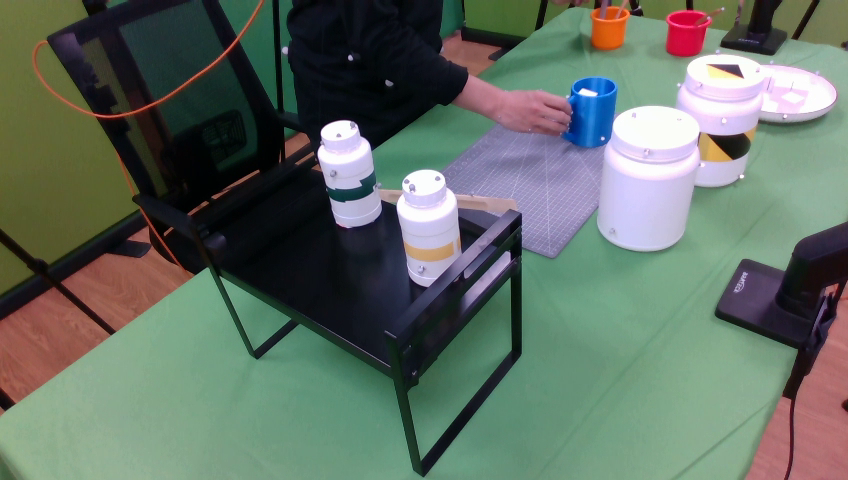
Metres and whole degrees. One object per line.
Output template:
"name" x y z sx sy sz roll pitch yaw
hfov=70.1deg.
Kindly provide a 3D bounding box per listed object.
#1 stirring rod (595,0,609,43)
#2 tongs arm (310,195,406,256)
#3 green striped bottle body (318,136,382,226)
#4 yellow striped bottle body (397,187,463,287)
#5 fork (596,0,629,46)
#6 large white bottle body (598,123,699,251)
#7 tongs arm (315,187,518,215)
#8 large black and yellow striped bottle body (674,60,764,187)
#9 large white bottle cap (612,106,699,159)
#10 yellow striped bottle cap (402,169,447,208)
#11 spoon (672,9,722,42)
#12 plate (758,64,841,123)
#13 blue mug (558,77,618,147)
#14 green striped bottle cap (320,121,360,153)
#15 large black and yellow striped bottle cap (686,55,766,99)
"stirring rod" 0.435 -0.563 1.454 0.014 0.176 0.006 11 7 14
"tongs arm" -0.078 -0.013 0.944 0.028 0.028 0.384 -42 39 -23
"green striped bottle body" -0.090 -0.080 0.733 0.063 0.120 0.063 -5 40 5
"yellow striped bottle body" 0.007 -0.013 0.638 0.063 0.121 0.062 -5 41 4
"fork" 0.480 -0.556 1.453 0.207 0.019 0.028 -59 42 10
"large white bottle body" 0.334 -0.090 0.906 0.130 0.185 0.130 -5 41 5
"tongs arm" -0.028 -0.060 0.988 0.382 0.027 0.051 10 45 36
"large black and yellow striped bottle body" 0.482 -0.196 1.008 0.131 0.185 0.130 -4 41 4
"large white bottle cap" 0.325 -0.153 0.850 0.115 0.018 0.114 -4 41 4
"yellow striped bottle cap" 0.000 -0.052 0.605 0.044 0.019 0.044 -5 43 5
"spoon" 0.606 -0.476 1.345 0.042 0.021 0.193 -6 -3 -2
"plate" 0.694 -0.283 1.189 0.207 0.039 0.206 -4 40 4
"blue mug" 0.304 -0.237 1.139 0.117 0.106 0.081 -21 42 -14
"green striped bottle cap" -0.097 -0.119 0.699 0.044 0.020 0.044 -4 39 4
"large black and yellow striped bottle cap" 0.474 -0.258 0.952 0.115 0.019 0.114 -5 41 5
